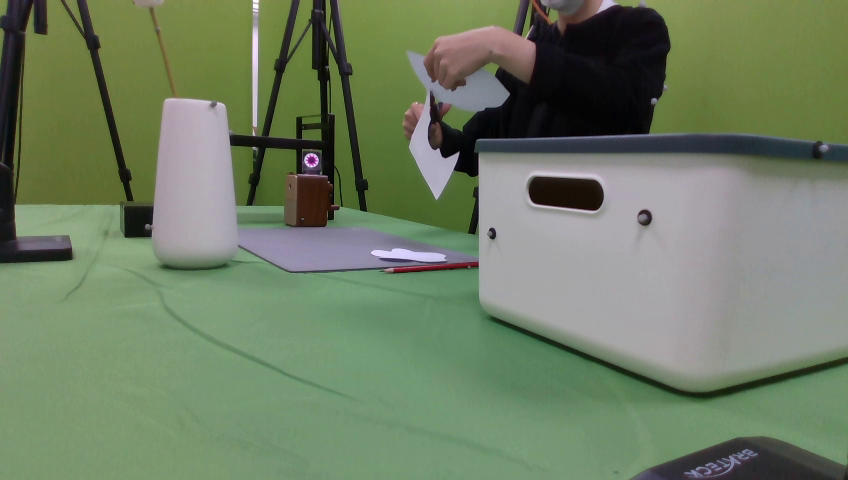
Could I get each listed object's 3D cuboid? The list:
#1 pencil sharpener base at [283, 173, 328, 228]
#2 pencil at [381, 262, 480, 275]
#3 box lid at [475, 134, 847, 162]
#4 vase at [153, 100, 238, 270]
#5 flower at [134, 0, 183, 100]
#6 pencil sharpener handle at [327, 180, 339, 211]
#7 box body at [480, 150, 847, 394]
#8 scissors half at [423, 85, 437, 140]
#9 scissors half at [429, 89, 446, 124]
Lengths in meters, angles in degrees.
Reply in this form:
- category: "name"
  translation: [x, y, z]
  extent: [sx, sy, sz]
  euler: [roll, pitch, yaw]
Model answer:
- category: "pencil sharpener base"
  translation: [-0.239, -0.081, 1.231]
  extent: [0.077, 0.107, 0.061]
  euler: [-2, 8, -36]
- category: "pencil"
  translation: [0.030, 0.036, 0.794]
  extent: [0.195, 0.012, 0.012]
  euler: [-3, 9, -30]
- category: "box lid"
  translation: [0.256, -0.073, 0.528]
  extent: [0.373, 0.015, 0.262]
  euler: [-2, 8, -31]
- category: "vase"
  translation: [-0.278, -0.066, 0.736]
  extent: [0.098, 0.200, 0.098]
  euler: [2, 9, 0]
- category: "flower"
  translation: [-0.282, -0.147, 0.713]
  extent: [0.038, 0.362, 0.044]
  euler: [-23, 24, -31]
- category: "pencil sharpener handle"
  translation: [-0.194, -0.094, 1.256]
  extent: [0.031, 0.067, 0.036]
  euler: [-2, -5, -36]
- category: "box body"
  translation: [0.254, 0.001, 0.539]
  extent: [0.366, 0.160, 0.253]
  euler: [-2, 9, -31]
- category: "scissors half"
  translation: [0.012, -0.229, 1.094]
  extent: [0.013, 0.040, 0.175]
  euler: [29, -19, 10]
- category: "scissors half"
  translation: [0.022, -0.247, 1.098]
  extent: [0.013, 0.040, 0.175]
  euler: [24, 2, 9]
